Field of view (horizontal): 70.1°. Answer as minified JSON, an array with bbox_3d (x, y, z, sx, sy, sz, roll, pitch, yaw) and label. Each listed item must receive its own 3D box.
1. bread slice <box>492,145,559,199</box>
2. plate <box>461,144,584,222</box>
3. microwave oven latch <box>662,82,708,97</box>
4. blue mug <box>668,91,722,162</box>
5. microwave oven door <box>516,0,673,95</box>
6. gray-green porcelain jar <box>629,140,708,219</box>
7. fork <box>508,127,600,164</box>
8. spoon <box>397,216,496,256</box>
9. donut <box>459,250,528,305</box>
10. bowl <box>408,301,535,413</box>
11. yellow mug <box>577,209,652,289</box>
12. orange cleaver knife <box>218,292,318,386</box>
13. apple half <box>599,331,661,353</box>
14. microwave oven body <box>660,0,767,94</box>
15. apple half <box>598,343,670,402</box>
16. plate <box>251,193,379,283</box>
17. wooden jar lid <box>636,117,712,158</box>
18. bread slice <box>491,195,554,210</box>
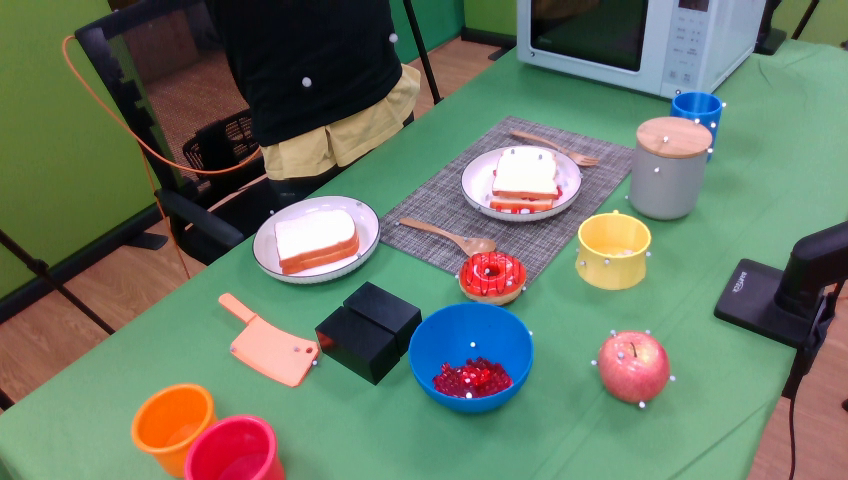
[{"bbox_3d":[0.172,-0.118,1.028,0.107,0.018,0.134,3,44,7],"label":"bread slice"},{"bbox_3d":[0.168,-0.095,1.040,0.207,0.039,0.206,-4,40,4],"label":"plate"},{"bbox_3d":[0.517,-0.298,1.202,0.078,0.029,0.030,28,52,35],"label":"microwave oven latch"},{"bbox_3d":[0.475,-0.207,1.078,0.082,0.106,0.116,4,42,13],"label":"blue mug"},{"bbox_3d":[0.344,-0.458,1.256,0.353,0.245,0.039,26,51,33],"label":"microwave oven door"},{"bbox_3d":[0.383,-0.105,0.958,0.106,0.127,0.105,-4,41,4],"label":"gray-green porcelain jar"},{"bbox_3d":[0.240,-0.180,1.142,0.205,0.019,0.028,32,63,34],"label":"fork"},{"bbox_3d":[0.032,-0.011,0.972,0.192,0.022,0.041,22,73,29],"label":"spoon"},{"bbox_3d":[0.100,0.053,0.872,0.099,0.048,0.098,-5,40,4],"label":"donut"},{"bbox_3d":[0.060,0.156,0.739,0.151,0.077,0.150,-4,40,4],"label":"bowl"},{"bbox_3d":[0.279,0.005,0.893,0.099,0.064,0.130,5,41,15],"label":"yellow mug"},{"bbox_3d":[-0.235,0.136,0.850,0.209,0.012,0.077,25,57,30],"label":"orange cleaver knife"},{"bbox_3d":[0.249,0.134,0.738,0.081,0.081,0.032,-1,46,7],"label":"apple half"},{"bbox_3d":[0.473,-0.516,1.313,0.438,0.261,0.327,26,51,34],"label":"microwave oven body"},{"bbox_3d":[0.247,0.161,0.710,0.081,0.075,0.053,2,47,5],"label":"apple half"},{"bbox_3d":[-0.174,-0.001,0.984,0.209,0.038,0.208,-4,40,4],"label":"plate"},{"bbox_3d":[0.377,-0.151,0.917,0.108,0.021,0.108,-2,41,2],"label":"wooden jar lid"},{"bbox_3d":[0.173,-0.098,1.048,0.104,0.019,0.131,2,44,12],"label":"bread slice"}]
